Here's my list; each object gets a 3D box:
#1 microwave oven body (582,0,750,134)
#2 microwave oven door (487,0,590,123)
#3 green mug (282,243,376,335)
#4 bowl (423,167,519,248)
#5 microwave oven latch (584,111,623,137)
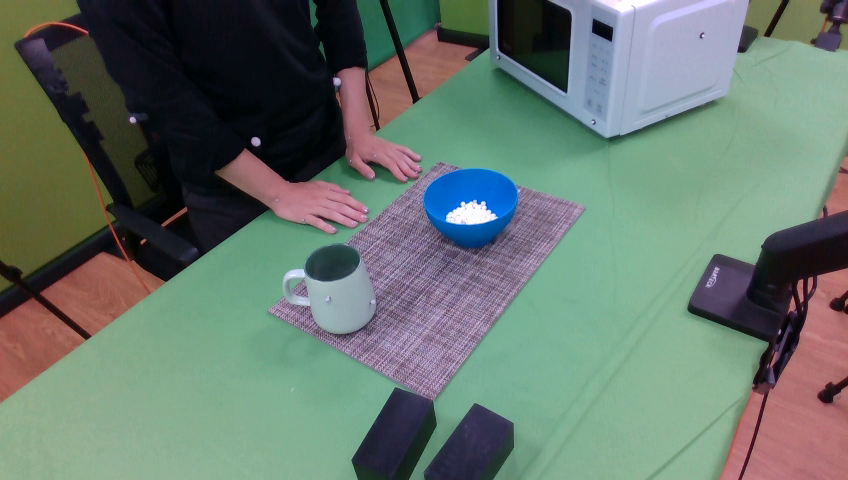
[{"bbox_3d":[0.382,-0.444,1.246,0.327,0.261,0.437,-22,42,-16],"label":"microwave oven body"},{"bbox_3d":[0.232,-0.420,1.231,0.039,0.245,0.352,-22,43,-16],"label":"microwave oven door"},{"bbox_3d":[-0.134,0.069,0.838,0.125,0.105,0.092,-2,41,6],"label":"green mug"},{"bbox_3d":[0.076,-0.041,0.958,0.151,0.077,0.150,-4,40,3],"label":"bowl"},{"bbox_3d":[0.337,-0.222,1.142,0.030,0.029,0.078,-21,42,-14],"label":"microwave oven latch"}]
